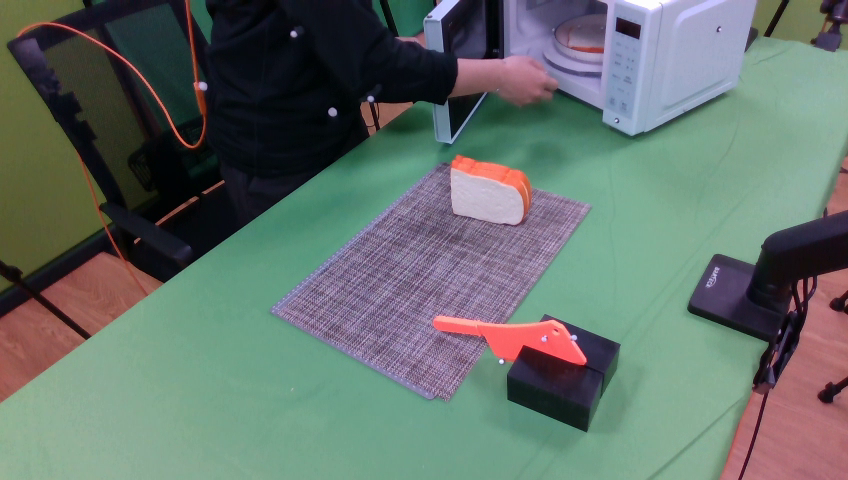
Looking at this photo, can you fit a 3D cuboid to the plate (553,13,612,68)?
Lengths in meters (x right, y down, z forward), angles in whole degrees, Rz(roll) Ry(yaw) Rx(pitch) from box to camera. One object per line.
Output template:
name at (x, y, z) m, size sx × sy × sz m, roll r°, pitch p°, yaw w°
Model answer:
plate at (0.385, -0.428, 1.316) m, size 0.208 × 0.039 × 0.206 m, roll -2°, pitch 46°, yaw 3°

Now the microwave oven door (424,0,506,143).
microwave oven door at (0.093, -0.392, 1.218) m, size 0.039 × 0.245 × 0.356 m, roll 11°, pitch 44°, yaw 21°

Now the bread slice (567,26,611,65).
bread slice at (0.363, -0.427, 1.327) m, size 0.107 × 0.018 × 0.133 m, roll 1°, pitch 51°, yaw 4°

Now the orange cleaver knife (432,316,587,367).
orange cleaver knife at (0.101, 0.127, 0.761) m, size 0.210 × 0.077 × 0.012 m, roll -1°, pitch 34°, yaw 40°

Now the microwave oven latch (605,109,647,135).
microwave oven latch at (0.379, -0.225, 1.139) m, size 0.030 × 0.029 × 0.078 m, roll -26°, pitch 43°, yaw -20°

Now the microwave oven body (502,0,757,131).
microwave oven body at (0.396, -0.448, 1.248) m, size 0.327 × 0.261 × 0.437 m, roll -27°, pitch 44°, yaw -21°
